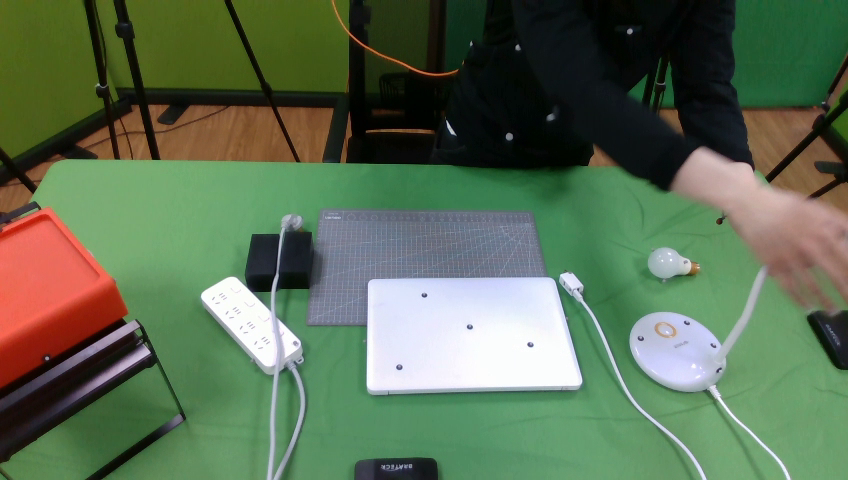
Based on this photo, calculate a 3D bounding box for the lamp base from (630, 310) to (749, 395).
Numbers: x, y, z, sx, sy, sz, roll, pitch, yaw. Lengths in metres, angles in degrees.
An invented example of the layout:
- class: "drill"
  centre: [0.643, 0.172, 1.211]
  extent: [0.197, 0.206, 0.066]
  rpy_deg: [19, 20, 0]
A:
- class: "lamp base"
  centre: [0.447, 0.143, 0.984]
  extent: [0.161, 0.181, 0.178]
  rpy_deg: [-24, 55, -24]

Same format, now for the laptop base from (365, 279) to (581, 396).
- class: "laptop base"
  centre: [0.077, 0.163, 1.053]
  extent: [0.355, 0.023, 0.234]
  rpy_deg: [0, 44, -4]

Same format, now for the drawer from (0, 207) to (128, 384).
- class: "drawer"
  centre: [-0.540, 0.074, 0.799]
  extent: [0.193, 0.073, 0.211]
  rpy_deg: [37, 55, 27]

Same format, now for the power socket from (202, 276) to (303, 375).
- class: "power socket"
  centre: [-0.296, 0.142, 1.033]
  extent: [0.072, 0.033, 0.225]
  rpy_deg: [-34, 58, -31]

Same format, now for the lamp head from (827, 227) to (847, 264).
- class: "lamp head"
  centre: [0.575, -0.002, 0.749]
  extent: [0.112, 0.123, 0.111]
  rpy_deg: [0, 46, 0]

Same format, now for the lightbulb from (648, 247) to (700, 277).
- class: "lightbulb"
  centre: [0.485, 0.046, 1.169]
  extent: [0.108, 0.060, 0.059]
  rpy_deg: [10, 45, -15]

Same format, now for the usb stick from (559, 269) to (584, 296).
- class: "usb stick"
  centre: [0.274, 0.077, 1.141]
  extent: [0.027, 0.021, 0.059]
  rpy_deg: [-11, 40, -14]

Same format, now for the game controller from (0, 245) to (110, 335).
- class: "game controller"
  centre: [-0.510, 0.062, 0.830]
  extent: [0.097, 0.052, 0.154]
  rpy_deg: [-30, 58, -30]

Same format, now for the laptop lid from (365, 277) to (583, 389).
- class: "laptop lid"
  centre: [0.077, 0.152, 1.046]
  extent: [0.357, 0.013, 0.240]
  rpy_deg: [1, 45, -3]

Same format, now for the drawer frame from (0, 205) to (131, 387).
- class: "drawer frame"
  centre: [-0.539, 0.076, 0.795]
  extent: [0.200, 0.083, 0.213]
  rpy_deg: [36, 54, 26]

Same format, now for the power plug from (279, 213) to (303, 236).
- class: "power plug"
  centre: [-0.263, -0.021, 1.184]
  extent: [0.035, 0.053, 0.072]
  rpy_deg: [-1, 47, 32]
